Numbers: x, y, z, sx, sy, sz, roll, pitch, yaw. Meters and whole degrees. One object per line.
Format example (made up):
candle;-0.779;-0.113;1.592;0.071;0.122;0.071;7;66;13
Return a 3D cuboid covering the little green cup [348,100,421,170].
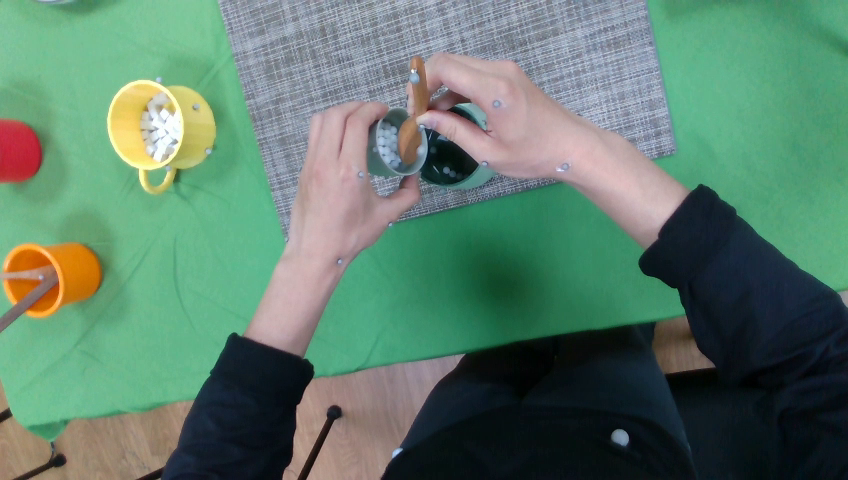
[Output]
little green cup;-0.037;-0.092;0.547;0.038;0.062;0.061;-6;99;46

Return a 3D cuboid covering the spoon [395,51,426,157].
spoon;-0.008;-0.101;0.457;0.022;0.194;0.041;21;83;-3

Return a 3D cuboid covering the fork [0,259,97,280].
fork;-0.522;0.041;0.747;0.208;0.018;0.028;-2;98;-31

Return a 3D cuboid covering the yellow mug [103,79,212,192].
yellow mug;-0.315;-0.121;0.716;0.100;0.064;0.131;12;103;10

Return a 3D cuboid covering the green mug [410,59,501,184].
green mug;0.028;-0.118;0.614;0.092;0.105;0.125;4;100;13

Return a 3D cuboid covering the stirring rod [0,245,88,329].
stirring rod;-0.491;0.071;0.750;0.014;0.006;0.175;37;63;4
